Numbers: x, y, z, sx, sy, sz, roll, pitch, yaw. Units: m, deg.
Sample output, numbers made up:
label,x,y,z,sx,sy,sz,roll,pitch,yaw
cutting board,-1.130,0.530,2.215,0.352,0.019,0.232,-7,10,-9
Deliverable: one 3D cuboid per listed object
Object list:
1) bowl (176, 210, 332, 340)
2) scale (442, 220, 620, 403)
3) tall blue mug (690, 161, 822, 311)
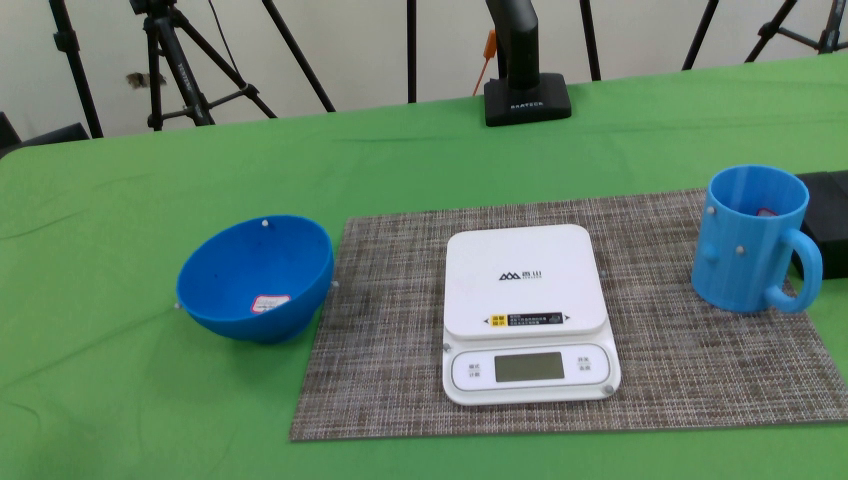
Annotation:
label,x,y,z,sx,sy,sz,roll,pitch,yaw
bowl,-0.158,0.047,0.606,0.151,0.077,0.150,-6,41,6
scale,0.092,0.058,0.565,0.148,0.032,0.199,-5,41,8
tall blue mug,0.292,0.002,0.523,0.106,0.109,0.077,26,52,36
